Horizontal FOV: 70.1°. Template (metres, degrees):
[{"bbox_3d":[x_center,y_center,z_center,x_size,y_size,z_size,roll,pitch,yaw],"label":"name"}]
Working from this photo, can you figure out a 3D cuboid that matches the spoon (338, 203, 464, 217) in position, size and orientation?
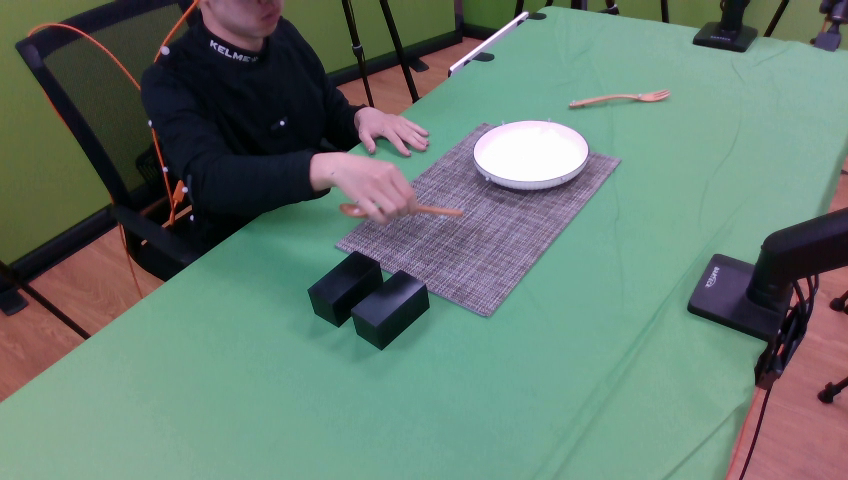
[{"bbox_3d":[-0.036,-0.045,0.900,0.193,0.022,0.041,0,21,17],"label":"spoon"}]

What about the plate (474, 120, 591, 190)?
[{"bbox_3d":[0.196,-0.151,1.099,0.207,0.039,0.206,-4,40,4],"label":"plate"}]

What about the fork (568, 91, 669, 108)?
[{"bbox_3d":[0.402,-0.290,1.252,0.207,0.019,0.028,-4,47,1],"label":"fork"}]
